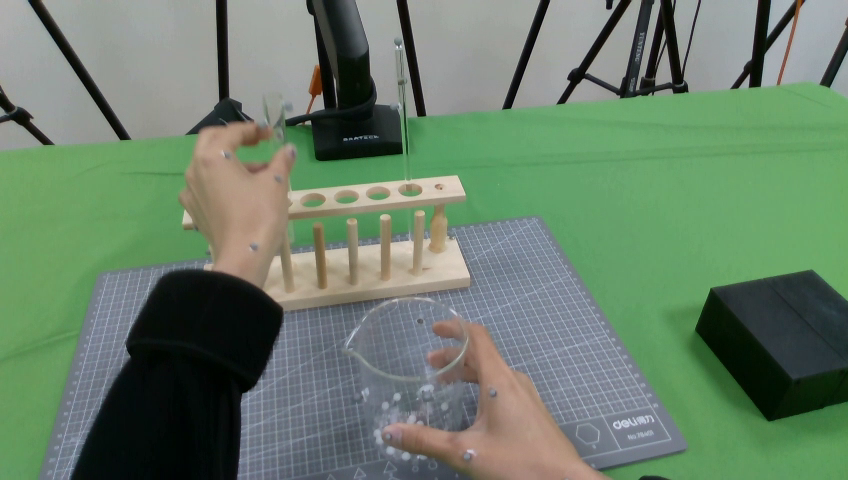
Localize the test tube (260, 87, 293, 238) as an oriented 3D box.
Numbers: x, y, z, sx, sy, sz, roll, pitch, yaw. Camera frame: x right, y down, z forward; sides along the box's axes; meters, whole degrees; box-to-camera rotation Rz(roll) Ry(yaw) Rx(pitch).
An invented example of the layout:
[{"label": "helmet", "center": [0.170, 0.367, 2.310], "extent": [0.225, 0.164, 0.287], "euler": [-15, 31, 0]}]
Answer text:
[{"label": "test tube", "center": [-0.122, -0.058, 0.508], "extent": [0.017, 0.151, 0.017], "euler": [4, 43, -3]}]

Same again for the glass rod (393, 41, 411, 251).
[{"label": "glass rod", "center": [-0.019, -0.075, 0.542], "extent": [0.008, 0.201, 0.008], "euler": [-1, 32, 1]}]

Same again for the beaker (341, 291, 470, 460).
[{"label": "beaker", "center": [-0.012, 0.097, 0.419], "extent": [0.084, 0.101, 0.073], "euler": [-6, 38, -7]}]

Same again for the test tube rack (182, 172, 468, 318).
[{"label": "test tube rack", "center": [-0.083, 0.002, 0.549], "extent": [0.243, 0.086, 0.066], "euler": [-7, 39, -9]}]
